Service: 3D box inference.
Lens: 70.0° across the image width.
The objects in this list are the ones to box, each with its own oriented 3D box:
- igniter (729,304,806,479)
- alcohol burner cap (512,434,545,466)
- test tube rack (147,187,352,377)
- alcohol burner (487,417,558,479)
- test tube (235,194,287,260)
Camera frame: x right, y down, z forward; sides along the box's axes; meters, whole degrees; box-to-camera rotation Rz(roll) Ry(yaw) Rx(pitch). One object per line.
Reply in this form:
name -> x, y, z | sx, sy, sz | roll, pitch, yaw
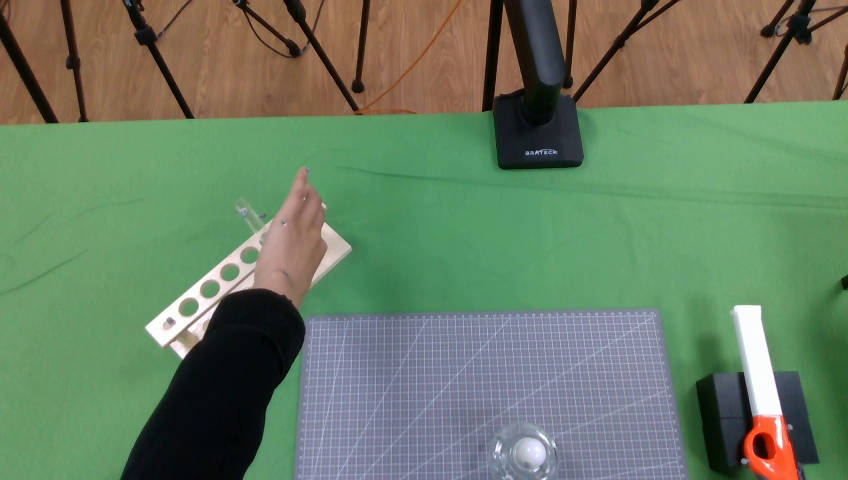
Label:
igniter -> 0.373, 0.201, 0.660 | 0.057, 0.025, 0.274 | 1, 64, 3
alcohol burner cap -> 0.108, 0.213, 0.616 | 0.034, 0.048, 0.033 | -1, 69, 4
test tube rack -> -0.203, 0.050, 0.742 | 0.066, 0.086, 0.242 | 42, 73, 17
alcohol burner -> 0.108, 0.227, 0.649 | 0.078, 0.120, 0.077 | 1, 65, -1
test tube -> -0.188, -0.011, 0.714 | 0.017, 0.151, 0.017 | -2, 64, 5
